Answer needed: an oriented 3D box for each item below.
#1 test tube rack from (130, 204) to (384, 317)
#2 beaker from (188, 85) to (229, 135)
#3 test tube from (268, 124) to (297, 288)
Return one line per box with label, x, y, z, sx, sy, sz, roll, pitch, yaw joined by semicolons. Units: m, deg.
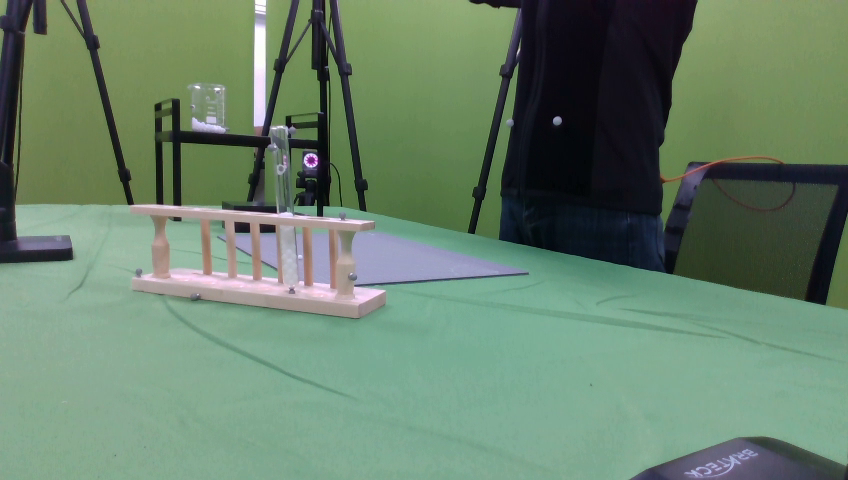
test tube rack;-0.163;0.013;0.589;0.242;0.085;0.067;5;8;17
beaker;-0.457;-0.275;1.283;0.084;0.100;0.073;-5;9;-40
test tube;-0.130;-0.030;0.557;0.017;0.150;0.017;-3;6;1
